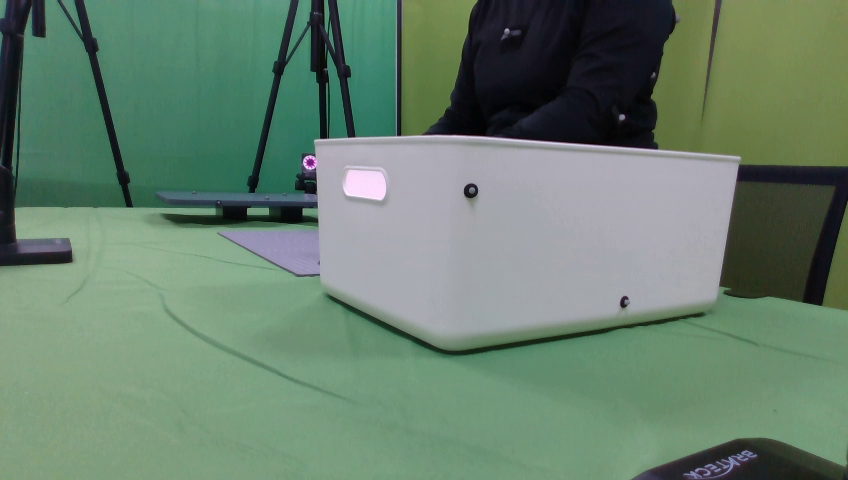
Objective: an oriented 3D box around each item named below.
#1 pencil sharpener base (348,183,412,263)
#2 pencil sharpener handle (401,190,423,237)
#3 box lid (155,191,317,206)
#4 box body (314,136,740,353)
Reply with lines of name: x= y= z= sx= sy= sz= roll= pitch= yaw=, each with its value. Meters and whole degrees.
pencil sharpener base: x=-0.060 y=-0.024 z=0.845 sx=0.077 sy=0.107 sz=0.061 roll=-1 pitch=7 yaw=-28
pencil sharpener handle: x=-0.015 y=-0.038 z=0.870 sx=0.031 sy=0.067 sz=0.036 roll=-1 pitch=15 yaw=-28
box lid: x=-0.387 y=-0.091 z=1.340 sx=0.373 sy=0.015 sz=0.262 roll=-1 pitch=8 yaw=-30
box body: x=0.098 y=-0.012 z=0.606 sx=0.366 sy=0.160 sz=0.253 roll=-2 pitch=8 yaw=-33
